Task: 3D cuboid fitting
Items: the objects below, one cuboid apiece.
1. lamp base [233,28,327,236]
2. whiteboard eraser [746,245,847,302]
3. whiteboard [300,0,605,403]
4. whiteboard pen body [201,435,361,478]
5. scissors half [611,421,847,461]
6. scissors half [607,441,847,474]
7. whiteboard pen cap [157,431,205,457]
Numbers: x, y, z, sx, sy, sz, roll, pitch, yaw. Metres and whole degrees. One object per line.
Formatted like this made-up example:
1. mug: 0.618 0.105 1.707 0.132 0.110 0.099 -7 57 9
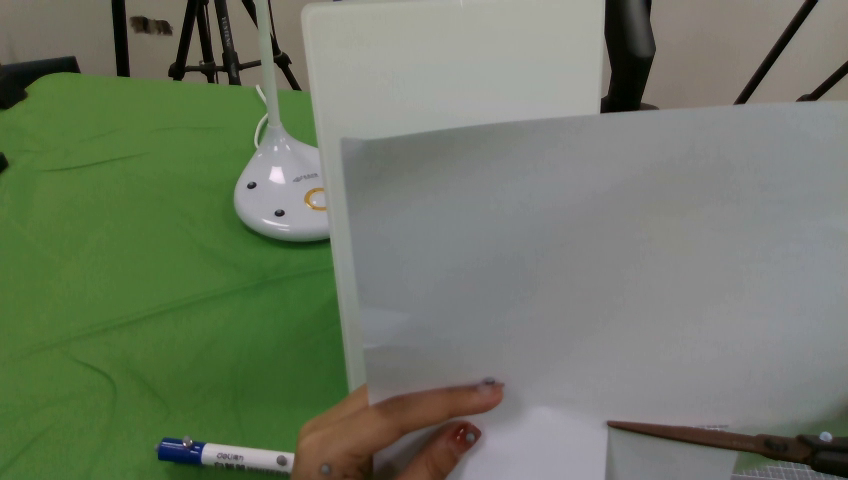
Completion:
1. lamp base: -0.142 -0.123 0.651 0.161 0.182 0.177 -29 48 -33
2. whiteboard eraser: 0.389 0.034 0.607 0.113 0.042 0.055 0 41 -4
3. whiteboard: 0.018 -0.048 0.522 0.218 0.307 0.142 -8 22 -12
4. whiteboard pen body: -0.116 0.156 0.441 0.141 0.017 0.017 7 40 1
5. scissors half: 0.173 0.094 0.280 0.175 0.013 0.040 -2 1 -5
6. scissors half: 0.169 0.096 0.259 0.174 0.013 0.040 -1 6 19
7. whiteboard pen cap: -0.175 0.149 0.442 0.033 0.018 0.018 6 40 -1
